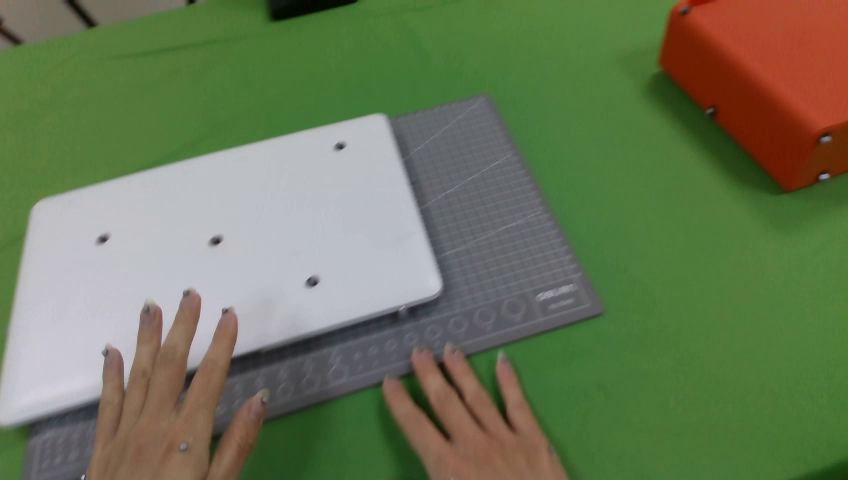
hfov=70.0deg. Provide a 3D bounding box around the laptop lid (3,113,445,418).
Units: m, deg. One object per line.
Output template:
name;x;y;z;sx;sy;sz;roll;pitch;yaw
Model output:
laptop lid;-0.179;0.002;0.537;0.357;0.013;0.239;-14;53;-5

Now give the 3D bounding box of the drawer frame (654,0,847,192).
drawer frame;0.371;-0.166;0.580;0.202;0.083;0.211;-20;51;-8

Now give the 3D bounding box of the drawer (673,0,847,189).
drawer;0.372;-0.165;0.579;0.195;0.074;0.209;-20;51;-8

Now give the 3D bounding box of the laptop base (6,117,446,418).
laptop base;-0.179;0.007;0.548;0.355;0.023;0.233;-16;54;-6
